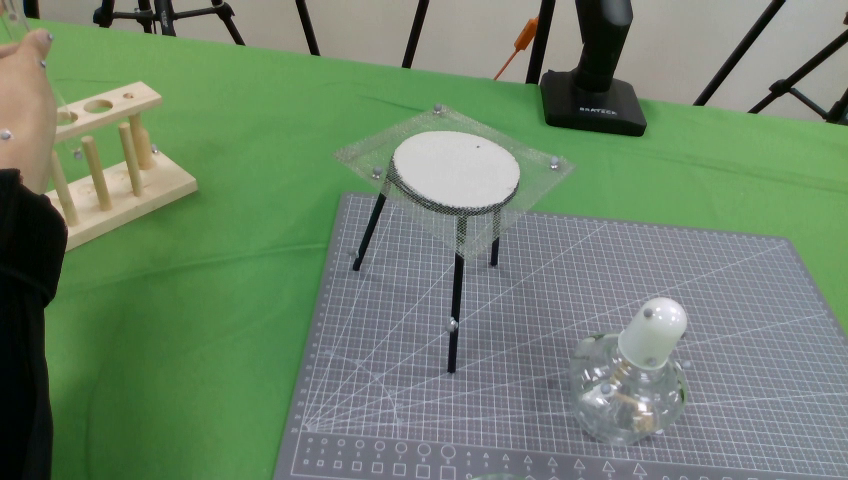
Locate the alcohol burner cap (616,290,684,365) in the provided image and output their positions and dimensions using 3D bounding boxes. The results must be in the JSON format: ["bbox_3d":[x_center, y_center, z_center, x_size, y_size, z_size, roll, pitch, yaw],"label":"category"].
[{"bbox_3d":[0.142,0.052,0.374,0.034,0.048,0.033,4,47,-4],"label":"alcohol burner cap"}]

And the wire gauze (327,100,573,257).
[{"bbox_3d":[0.019,-0.053,0.405,0.124,0.011,0.121,35,50,24],"label":"wire gauze"}]

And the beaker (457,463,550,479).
[{"bbox_3d":[0.030,0.169,0.299,0.084,0.101,0.073,-1,43,-8],"label":"beaker"}]

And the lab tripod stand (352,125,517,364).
[{"bbox_3d":[0.014,-0.004,0.452,0.148,0.132,0.147,6,44,-5],"label":"lab tripod stand"}]

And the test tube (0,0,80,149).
[{"bbox_3d":[-0.290,-0.131,0.449,0.017,0.151,0.017,0,45,0],"label":"test tube"}]

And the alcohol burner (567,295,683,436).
[{"bbox_3d":[0.138,0.077,0.400,0.078,0.120,0.077,6,42,-5],"label":"alcohol burner"}]

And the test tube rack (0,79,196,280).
[{"bbox_3d":[-0.312,-0.040,0.480,0.066,0.086,0.242,34,49,25],"label":"test tube rack"}]
